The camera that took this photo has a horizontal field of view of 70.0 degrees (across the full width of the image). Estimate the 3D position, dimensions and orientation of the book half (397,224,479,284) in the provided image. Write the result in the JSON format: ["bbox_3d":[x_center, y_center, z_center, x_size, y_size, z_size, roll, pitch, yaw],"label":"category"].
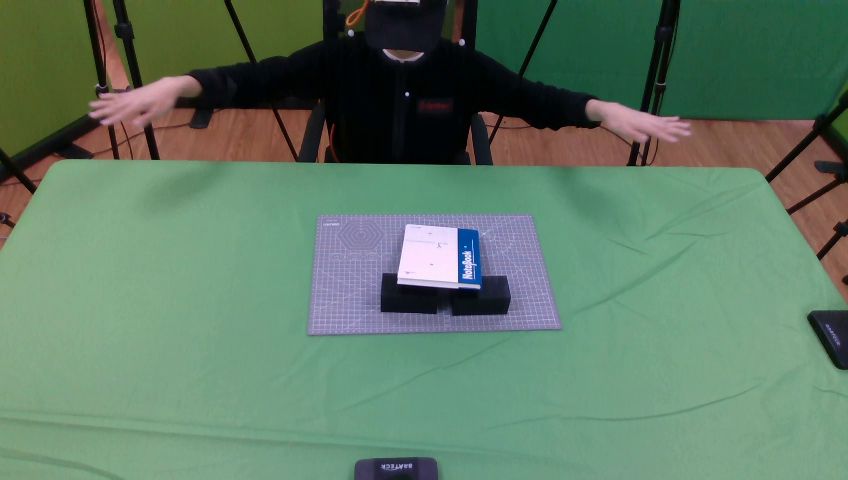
[{"bbox_3d":[0.029,0.023,1.128,0.143,0.007,0.209,5,28,1],"label":"book half"}]
